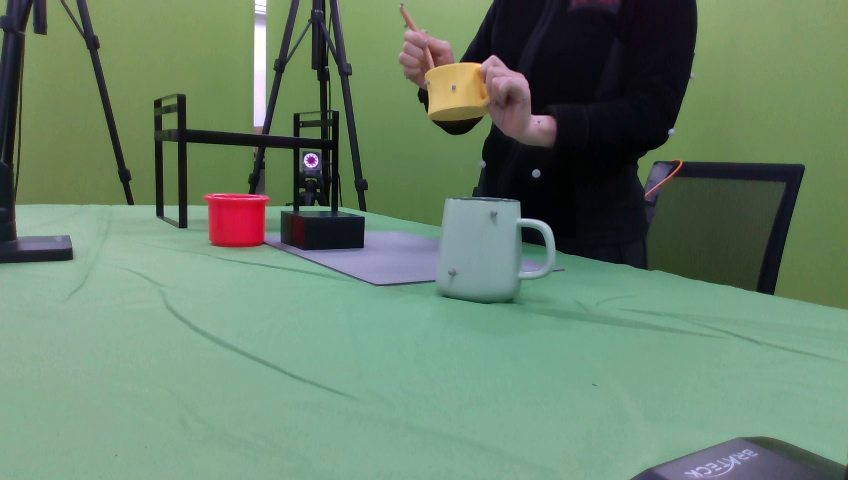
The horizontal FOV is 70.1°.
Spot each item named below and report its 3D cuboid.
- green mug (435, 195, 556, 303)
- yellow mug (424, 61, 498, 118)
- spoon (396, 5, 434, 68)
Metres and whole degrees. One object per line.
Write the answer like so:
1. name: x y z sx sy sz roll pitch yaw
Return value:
1. green mug: 0.074 0.009 0.624 0.125 0.105 0.093 5 7 23
2. yellow mug: 0.063 -0.231 0.923 0.100 0.064 0.130 -6 1 -41
3. spoon: 0.002 -0.288 0.944 0.021 0.193 0.041 -23 -12 -1
